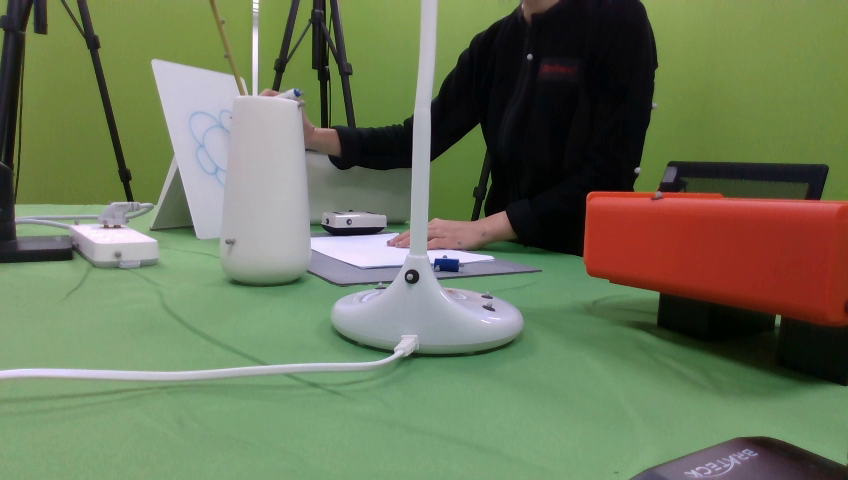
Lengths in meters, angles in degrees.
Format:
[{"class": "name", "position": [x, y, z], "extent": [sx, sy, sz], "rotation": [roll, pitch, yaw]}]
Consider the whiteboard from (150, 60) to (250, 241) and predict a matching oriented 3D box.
[{"class": "whiteboard", "position": [-0.408, -0.139, 1.093], "extent": [0.143, 0.305, 0.218], "rotation": [-15, -1, 26]}]

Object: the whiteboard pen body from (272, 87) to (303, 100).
[{"class": "whiteboard pen body", "position": [-0.273, -0.235, 1.051], "extent": [0.140, 0.017, 0.017], "rotation": [-17, 2, 16]}]

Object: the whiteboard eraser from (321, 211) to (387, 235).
[{"class": "whiteboard eraser", "position": [-0.128, -0.031, 1.108], "extent": [0.113, 0.042, 0.055], "rotation": [-4, 8, -38]}]

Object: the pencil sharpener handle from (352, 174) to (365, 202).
[{"class": "pencil sharpener handle", "position": [-0.156, -0.125, 1.450], "extent": [0.031, 0.068, 0.036], "rotation": [1, 20, -11]}]

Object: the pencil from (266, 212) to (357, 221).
[{"class": "pencil", "position": [-0.244, -0.049, 1.319], "extent": [0.195, 0.012, 0.012], "rotation": [4, 7, -12]}]

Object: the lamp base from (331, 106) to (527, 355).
[{"class": "lamp base", "position": [0.006, -0.012, 0.478], "extent": [0.161, 0.180, 0.179], "rotation": [2, 10, 2]}]

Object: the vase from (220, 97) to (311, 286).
[{"class": "vase", "position": [-0.172, -0.052, 0.662], "extent": [0.098, 0.200, 0.098], "rotation": [3, 8, 0]}]

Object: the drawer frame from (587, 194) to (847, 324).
[{"class": "drawer frame", "position": [0.285, 0.004, 0.508], "extent": [0.203, 0.082, 0.212], "rotation": [-1, 6, -29]}]

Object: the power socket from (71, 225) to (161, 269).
[{"class": "power socket", "position": [-0.408, 0.004, 0.793], "extent": [0.072, 0.032, 0.225], "rotation": [-2, 8, -38]}]

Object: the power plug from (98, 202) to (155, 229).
[{"class": "power plug", "position": [-0.416, -0.027, 0.848], "extent": [0.073, 0.052, 0.035], "rotation": [0, 8, -28]}]

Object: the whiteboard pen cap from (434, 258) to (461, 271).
[{"class": "whiteboard pen cap", "position": [0.029, 0.031, 0.770], "extent": [0.033, 0.018, 0.018], "rotation": [5, 8, 8]}]

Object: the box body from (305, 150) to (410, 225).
[{"class": "box body", "position": [-0.230, -0.126, 1.372], "extent": [0.366, 0.160, 0.253], "rotation": [-2, 9, -33]}]

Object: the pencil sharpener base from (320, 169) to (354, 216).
[{"class": "pencil sharpener base", "position": [-0.207, -0.113, 1.438], "extent": [0.077, 0.107, 0.061], "rotation": [1, 6, -11]}]

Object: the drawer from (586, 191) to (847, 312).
[{"class": "drawer", "position": [0.281, 0.001, 0.512], "extent": [0.195, 0.073, 0.210], "rotation": [-1, 8, -29]}]

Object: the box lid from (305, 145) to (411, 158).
[{"class": "box lid", "position": [-0.228, -0.200, 1.361], "extent": [0.373, 0.015, 0.262], "rotation": [-1, 8, -33]}]

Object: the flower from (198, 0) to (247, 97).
[{"class": "flower", "position": [-0.187, -0.133, 0.648], "extent": [0.038, 0.362, 0.044], "rotation": [0, 22, 43]}]
